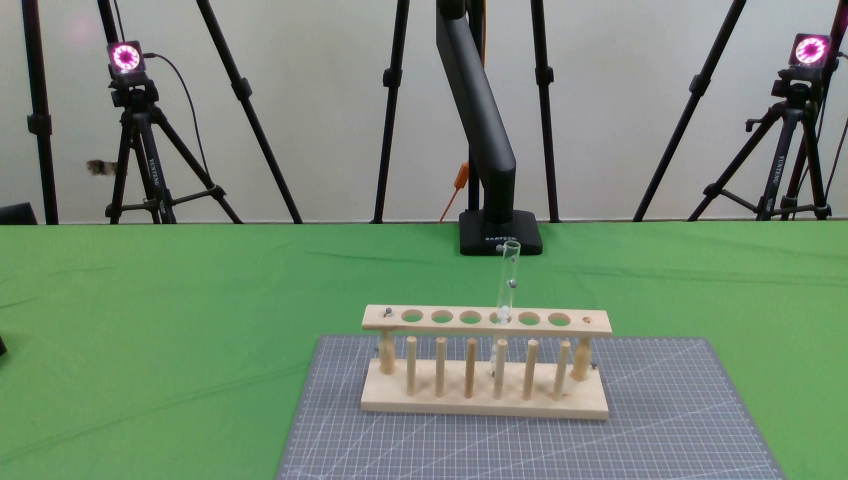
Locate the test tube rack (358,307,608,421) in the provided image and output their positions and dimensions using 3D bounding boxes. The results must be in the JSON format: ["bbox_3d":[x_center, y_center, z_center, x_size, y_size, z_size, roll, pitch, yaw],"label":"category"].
[{"bbox_3d":[0.057,0.122,0.607,0.242,0.086,0.066,1,30,4],"label":"test tube rack"}]

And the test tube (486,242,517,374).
[{"bbox_3d":[0.076,0.071,0.597,0.017,0.151,0.017,3,27,-1],"label":"test tube"}]
